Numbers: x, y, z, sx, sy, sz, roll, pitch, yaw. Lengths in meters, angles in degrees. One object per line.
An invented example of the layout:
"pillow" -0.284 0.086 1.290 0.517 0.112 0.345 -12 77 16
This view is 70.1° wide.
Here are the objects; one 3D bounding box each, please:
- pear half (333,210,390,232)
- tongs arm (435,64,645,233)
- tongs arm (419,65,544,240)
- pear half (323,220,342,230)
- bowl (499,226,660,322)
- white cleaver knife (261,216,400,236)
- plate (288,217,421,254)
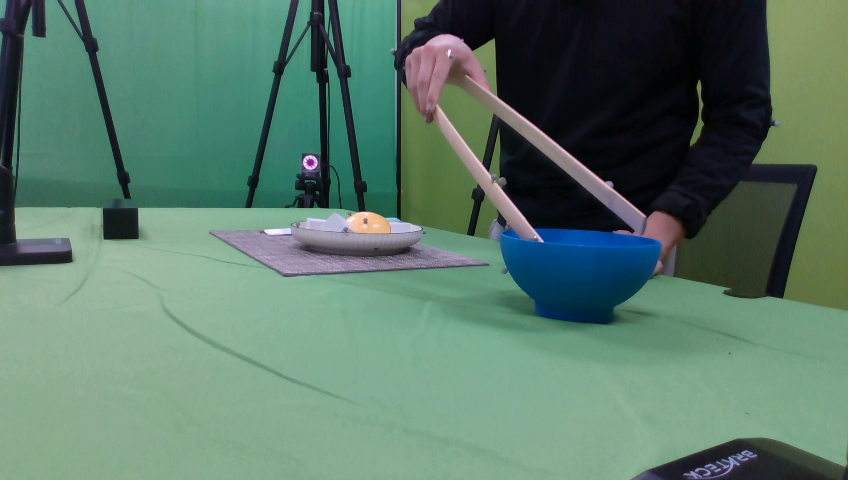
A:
"pear half" -0.107 -0.016 0.920 0.110 0.056 0.076 -5 5 -20
"tongs arm" 0.117 -0.123 0.706 0.028 0.028 0.385 -25 46 -15
"tongs arm" 0.063 -0.106 0.691 0.051 0.026 0.383 -18 44 -13
"pear half" -0.127 -0.019 1.001 0.088 0.031 0.070 8 4 1
"bowl" 0.145 0.032 0.583 0.151 0.077 0.151 2 7 0
"white cleaver knife" -0.169 -0.021 1.156 0.288 0.021 0.065 -7 20 -33
"plate" -0.109 -0.007 0.956 0.208 0.039 0.207 2 7 0
